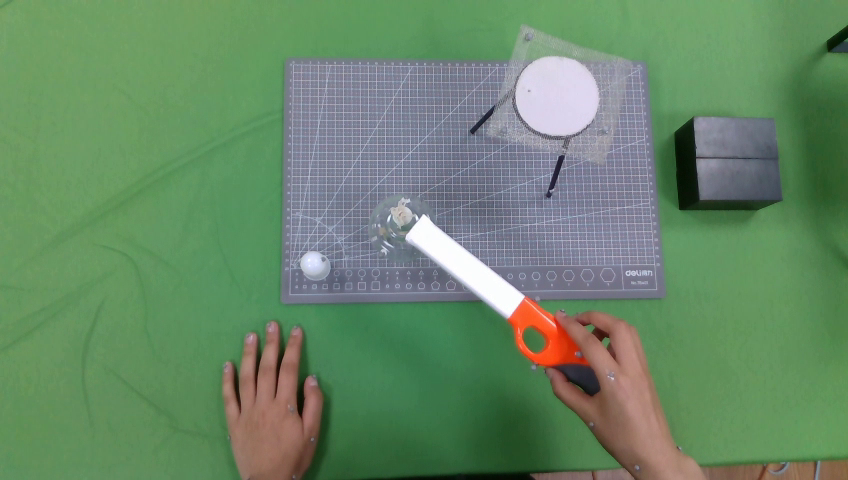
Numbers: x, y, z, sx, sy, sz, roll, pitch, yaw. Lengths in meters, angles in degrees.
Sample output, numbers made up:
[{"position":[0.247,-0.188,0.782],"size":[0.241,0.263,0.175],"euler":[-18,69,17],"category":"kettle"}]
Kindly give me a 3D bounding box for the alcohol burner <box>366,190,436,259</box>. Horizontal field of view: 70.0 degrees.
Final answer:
[{"position":[-0.025,-0.019,0.656],"size":[0.078,0.119,0.077],"euler":[0,82,-3],"category":"alcohol burner"}]

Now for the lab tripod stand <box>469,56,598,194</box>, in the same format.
[{"position":[0.131,-0.138,0.676],"size":[0.148,0.132,0.147],"euler":[1,78,-3],"category":"lab tripod stand"}]

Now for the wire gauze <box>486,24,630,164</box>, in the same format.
[{"position":[0.137,-0.147,0.610],"size":[0.121,0.011,0.124],"euler":[18,79,-1],"category":"wire gauze"}]

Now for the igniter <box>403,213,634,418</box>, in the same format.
[{"position":[0.094,0.073,0.588],"size":[0.276,0.025,0.057],"euler":[39,79,2],"category":"igniter"}]

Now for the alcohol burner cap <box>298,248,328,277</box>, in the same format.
[{"position":[-0.126,0.023,0.679],"size":[0.034,0.048,0.033],"euler":[1,80,-4],"category":"alcohol burner cap"}]
